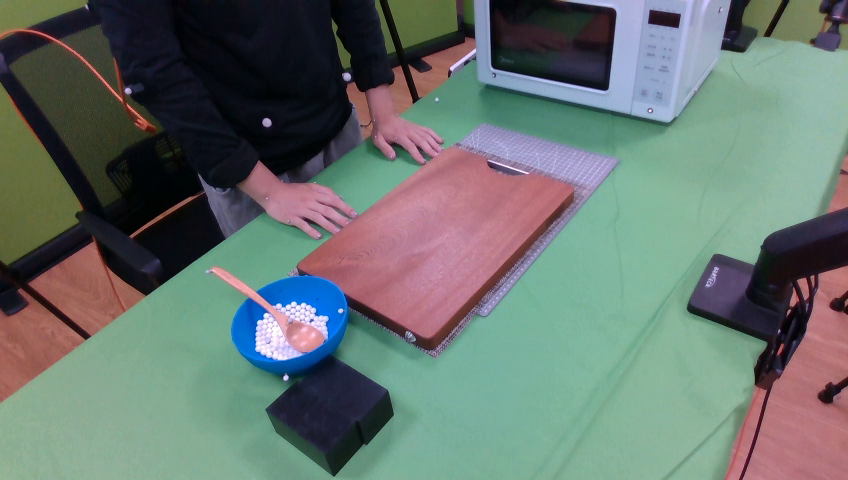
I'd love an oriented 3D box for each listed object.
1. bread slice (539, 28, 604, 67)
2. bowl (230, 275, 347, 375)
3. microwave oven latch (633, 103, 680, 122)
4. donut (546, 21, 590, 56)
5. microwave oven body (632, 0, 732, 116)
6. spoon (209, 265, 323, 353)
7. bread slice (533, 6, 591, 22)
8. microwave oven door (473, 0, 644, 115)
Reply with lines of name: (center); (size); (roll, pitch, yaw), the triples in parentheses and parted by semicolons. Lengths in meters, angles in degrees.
bread slice: (0.331, -0.430, 1.340); (0.104, 0.019, 0.132); (22, 59, 41)
bowl: (-0.171, 0.125, 0.802); (0.151, 0.077, 0.150); (-4, 40, 4)
microwave oven latch: (0.444, -0.249, 1.157); (0.078, 0.029, 0.030); (21, 49, 30)
donut: (0.309, -0.434, 1.298); (0.099, 0.048, 0.098); (-22, 34, 17)
microwave oven body: (0.377, -0.462, 1.267); (0.438, 0.261, 0.327); (21, 48, 30)
spoon: (-0.214, 0.087, 0.806); (0.193, 0.021, 0.042); (37, 56, 11)
bread slice: (0.296, -0.479, 1.278); (0.106, 0.018, 0.134); (7, 29, 21)
microwave oven door: (0.257, -0.396, 1.199); (0.353, 0.245, 0.039); (21, 48, 29)
